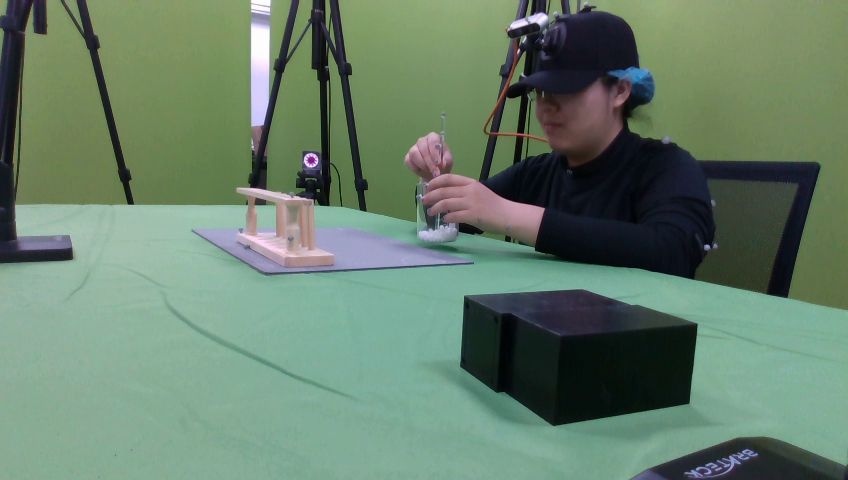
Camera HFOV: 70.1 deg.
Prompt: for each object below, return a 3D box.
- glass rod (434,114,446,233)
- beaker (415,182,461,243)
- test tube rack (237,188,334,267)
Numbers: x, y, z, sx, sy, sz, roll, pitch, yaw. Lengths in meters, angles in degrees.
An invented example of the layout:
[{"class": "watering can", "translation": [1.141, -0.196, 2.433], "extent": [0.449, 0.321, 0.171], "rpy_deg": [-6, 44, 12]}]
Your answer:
[{"class": "glass rod", "translation": [0.027, -0.109, 1.015], "extent": [0.008, 0.199, 0.008], "rpy_deg": [4, 10, 0]}, {"class": "beaker", "translation": [0.026, -0.047, 1.003], "extent": [0.083, 0.100, 0.074], "rpy_deg": [4, 8, 38]}, {"class": "test tube rack", "translation": [-0.202, -0.024, 0.855], "extent": [0.067, 0.085, 0.241], "rpy_deg": [-2, 8, -30]}]
